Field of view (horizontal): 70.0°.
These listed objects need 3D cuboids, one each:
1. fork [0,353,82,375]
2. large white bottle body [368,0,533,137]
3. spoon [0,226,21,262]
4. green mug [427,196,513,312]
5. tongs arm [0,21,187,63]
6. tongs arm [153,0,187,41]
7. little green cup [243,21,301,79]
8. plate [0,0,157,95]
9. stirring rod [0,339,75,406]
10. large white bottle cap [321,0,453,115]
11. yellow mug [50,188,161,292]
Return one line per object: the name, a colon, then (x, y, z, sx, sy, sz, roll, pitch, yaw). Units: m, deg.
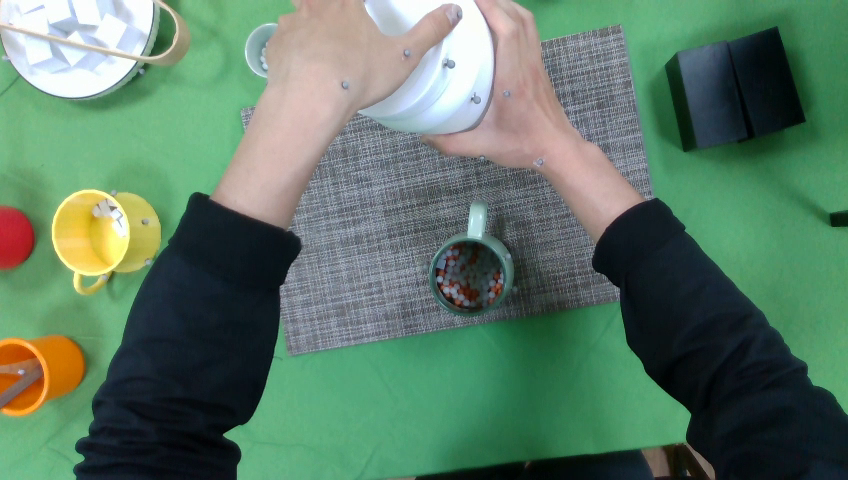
fork: (-0.519, 0.148, 0.708, 0.209, 0.018, 0.028, 5, 91, -36)
large white bottle body: (0.010, -0.164, 0.551, 0.130, 0.185, 0.131, 4, 97, 29)
spoon: (-0.547, -0.045, 0.705, 0.041, 0.021, 0.196, -15, 135, 7)
green mug: (0.051, 0.015, 0.649, 0.092, 0.105, 0.125, 6, 92, 8)
tongs arm: (-0.460, -0.264, 0.708, 0.384, 0.026, 0.051, 18, 91, 8)
tongs arm: (-0.428, -0.340, 0.702, 0.386, 0.028, 0.028, 32, 89, 7)
little green cup: (-0.174, -0.217, 0.705, 0.061, 0.038, 0.061, 0, 93, 8)
plate: (-0.417, -0.278, 0.733, 0.207, 0.039, 0.207, 0, 93, 7)
stirring rod: (-0.491, 0.180, 0.712, 0.014, 0.006, 0.175, 40, 54, 3)
large white bottle cap: (-0.032, -0.157, 0.477, 0.114, 0.018, 0.115, 3, 98, 28)
yellow mug: (-0.386, 0.003, 0.727, 0.100, 0.064, 0.131, 22, 96, 6)
